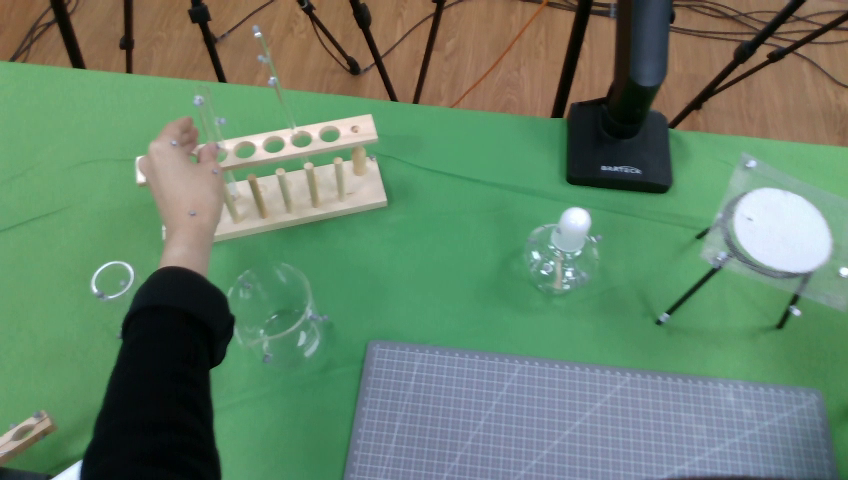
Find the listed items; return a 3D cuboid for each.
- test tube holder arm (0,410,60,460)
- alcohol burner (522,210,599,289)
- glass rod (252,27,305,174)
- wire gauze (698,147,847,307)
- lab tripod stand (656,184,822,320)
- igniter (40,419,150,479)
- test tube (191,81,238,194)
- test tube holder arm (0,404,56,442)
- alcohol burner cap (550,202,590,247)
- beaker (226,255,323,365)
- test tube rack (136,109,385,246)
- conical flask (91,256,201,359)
[{"bbox_3d":[-0.349,0.173,0.503,0.088,0.015,0.010,-33,66,-18],"label":"test tube holder arm"},{"bbox_3d":[0.141,0.001,0.607,0.078,0.120,0.077,1,60,-2],"label":"alcohol burner"},{"bbox_3d":[-0.140,-0.127,0.611,0.008,0.201,0.008,-3,54,4],"label":"glass rod"},{"bbox_3d":[0.317,-0.014,0.530,0.121,0.011,0.124,26,65,11],"label":"wire gauze"},{"bbox_3d":[0.309,0.019,0.589,0.148,0.132,0.147,1,60,-2],"label":"lab tripod stand"},{"bbox_3d":[-0.348,0.236,0.464,0.276,0.025,0.057,-34,69,-21],"label":"igniter"},{"bbox_3d":[-0.209,-0.098,0.612,0.017,0.151,0.017,2,55,-3],"label":"test tube"},{"bbox_3d":[-0.388,0.193,0.490,0.178,0.015,0.013,-34,67,-19],"label":"test tube holder arm"},{"bbox_3d":[0.140,-0.018,0.576,0.034,0.048,0.033,1,60,-1],"label":"alcohol burner cap"},{"bbox_3d":[-0.137,0.073,0.571,0.074,0.101,0.083,20,63,10],"label":"beaker"},{"bbox_3d":[-0.169,-0.067,0.653,0.243,0.086,0.066,-13,62,-8],"label":"test tube rack"},{"bbox_3d":[-0.262,0.058,0.562,0.075,0.123,0.074,0,61,0],"label":"conical flask"}]
